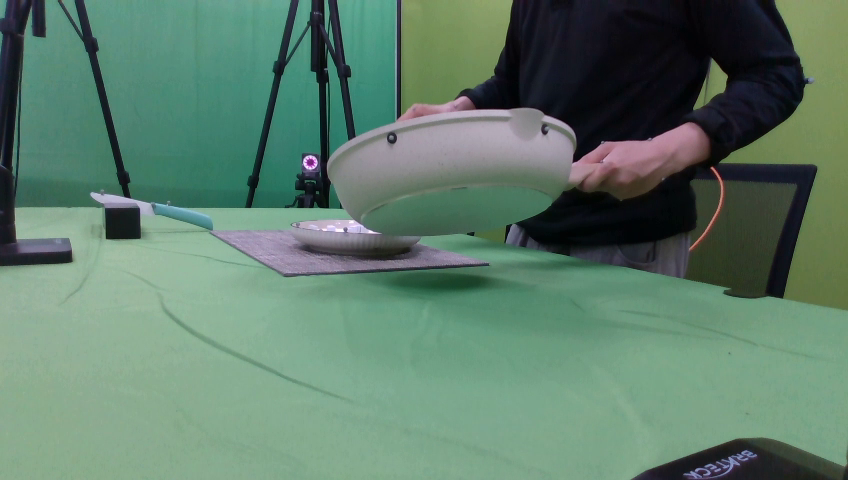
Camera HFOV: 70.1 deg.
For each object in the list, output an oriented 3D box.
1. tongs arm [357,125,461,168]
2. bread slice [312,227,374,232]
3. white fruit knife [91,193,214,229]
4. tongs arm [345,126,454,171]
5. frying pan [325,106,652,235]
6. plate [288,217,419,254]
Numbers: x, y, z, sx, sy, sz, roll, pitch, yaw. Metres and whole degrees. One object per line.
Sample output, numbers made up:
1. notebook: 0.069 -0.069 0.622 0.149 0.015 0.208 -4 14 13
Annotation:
1. tongs arm: -0.012 -0.169 1.051 0.028 0.028 0.389 -13 9 29
2. bread slice: -0.115 -0.005 0.950 0.134 0.018 0.107 3 6 -7
3. white fruit knife: -0.478 -0.055 1.077 0.208 0.027 0.016 14 -1 -30
4. tongs arm: -0.028 -0.166 1.060 0.050 0.026 0.386 -10 11 23
5. frying pan: 0.123 -0.081 0.761 0.490 0.102 0.305 -9 -7 -30
6. plate: -0.109 -0.008 0.956 0.208 0.039 0.207 2 7 0
